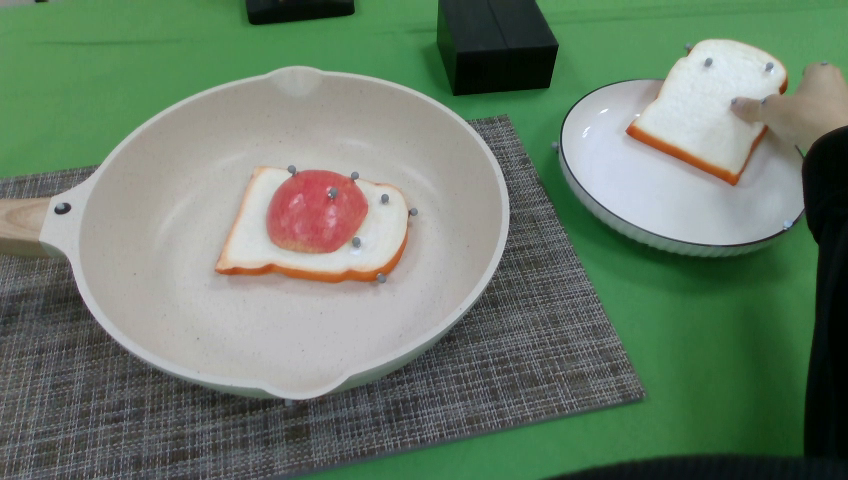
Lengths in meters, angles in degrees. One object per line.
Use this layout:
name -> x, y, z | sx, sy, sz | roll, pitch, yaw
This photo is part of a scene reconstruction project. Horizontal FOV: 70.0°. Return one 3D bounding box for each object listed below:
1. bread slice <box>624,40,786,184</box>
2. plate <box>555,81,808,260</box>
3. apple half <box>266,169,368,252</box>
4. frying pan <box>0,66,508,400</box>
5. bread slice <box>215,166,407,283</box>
bread slice -> 0.261, -0.126, 0.551 | 0.104, 0.019, 0.131 | 31, 78, 21
plate -> 0.215, -0.060, 0.523 | 0.208, 0.039, 0.205 | 2, 50, -2
apple half -> -0.083, -0.028, 0.453 | 0.081, 0.033, 0.080 | 0, 49, 1
frying pan -> -0.190, -0.013, 0.417 | 0.489, 0.103, 0.303 | 1, 49, -13
bread slice -> -0.081, -0.013, 0.471 | 0.134, 0.018, 0.106 | 4, 51, 0
